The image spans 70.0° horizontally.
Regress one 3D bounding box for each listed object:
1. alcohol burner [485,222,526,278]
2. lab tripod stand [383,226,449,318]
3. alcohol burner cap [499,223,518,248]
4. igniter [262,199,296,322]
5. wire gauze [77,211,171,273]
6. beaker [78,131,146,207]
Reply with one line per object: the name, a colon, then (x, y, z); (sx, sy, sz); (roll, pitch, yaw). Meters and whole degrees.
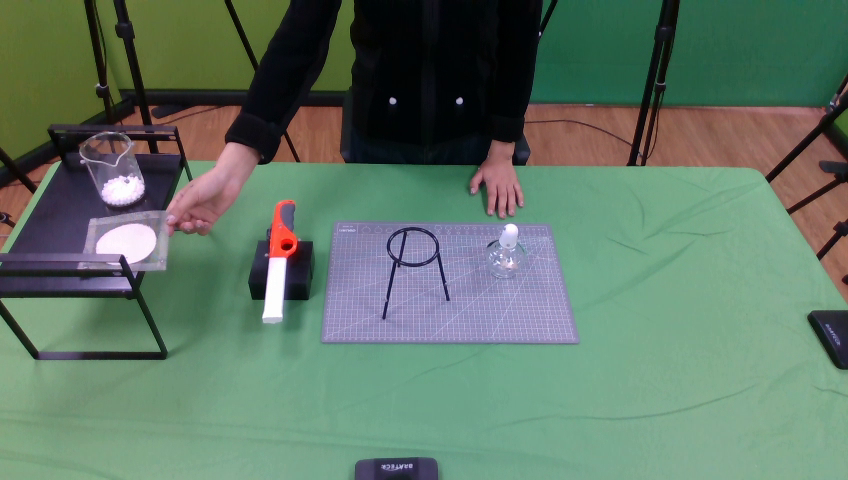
alcohol burner: (0.154, 0.014, 1.130); (0.078, 0.120, 0.077); (2, 44, -2)
lab tripod stand: (-0.023, 0.055, 1.062); (0.148, 0.132, 0.147); (2, 48, -2)
alcohol burner cap: (0.156, -0.010, 1.102); (0.034, 0.048, 0.033); (1, 53, -2)
igniter: (-0.260, 0.027, 1.083); (0.057, 0.025, 0.274); (0, 49, -7)
wire gauze: (-0.452, 0.003, 0.921); (0.125, 0.011, 0.120); (-5, 47, -10)
beaker: (-0.488, -0.108, 0.961); (0.074, 0.101, 0.083); (-25, 54, -25)
